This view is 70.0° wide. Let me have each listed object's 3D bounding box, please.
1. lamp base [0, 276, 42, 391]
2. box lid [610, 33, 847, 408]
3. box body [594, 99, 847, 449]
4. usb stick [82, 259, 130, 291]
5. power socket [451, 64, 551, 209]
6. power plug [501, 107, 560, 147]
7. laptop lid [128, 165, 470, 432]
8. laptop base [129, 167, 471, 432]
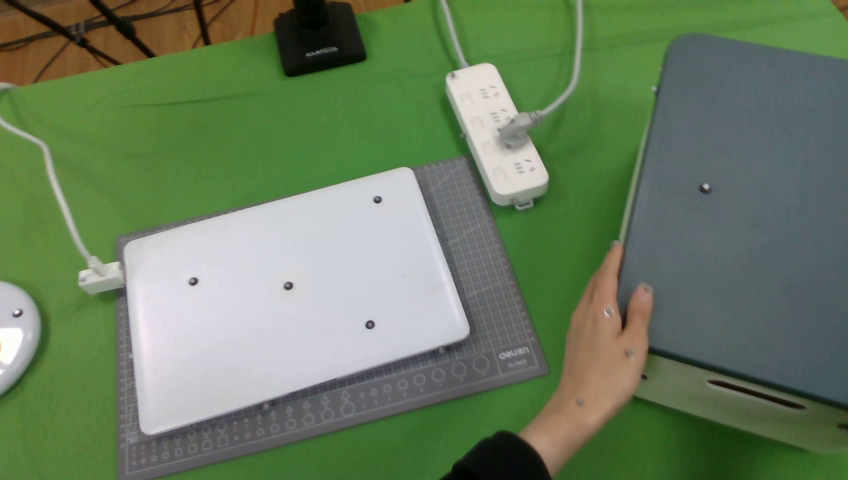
[{"bbox_3d":[-0.523,0.072,0.607,0.179,0.182,0.159,10,61,12],"label":"lamp base"},{"bbox_3d":[0.332,-0.041,0.548,0.262,0.015,0.369,16,63,12],"label":"box lid"},{"bbox_3d":[0.335,-0.003,0.613,0.253,0.162,0.362,16,63,11],"label":"box body"},{"bbox_3d":[-0.356,0.039,0.694,0.059,0.027,0.021,-12,56,-7],"label":"usb stick"},{"bbox_3d":[0.095,-0.140,0.776,0.072,0.033,0.224,-15,61,-6],"label":"power socket"},{"bbox_3d":[0.131,-0.132,0.744,0.072,0.053,0.035,-5,60,-1],"label":"power plug"},{"bbox_3d":[-0.148,0.051,0.678,0.357,0.013,0.239,-15,64,-5],"label":"laptop lid"},{"bbox_3d":[-0.148,0.055,0.689,0.355,0.023,0.233,-16,65,-6],"label":"laptop base"}]
